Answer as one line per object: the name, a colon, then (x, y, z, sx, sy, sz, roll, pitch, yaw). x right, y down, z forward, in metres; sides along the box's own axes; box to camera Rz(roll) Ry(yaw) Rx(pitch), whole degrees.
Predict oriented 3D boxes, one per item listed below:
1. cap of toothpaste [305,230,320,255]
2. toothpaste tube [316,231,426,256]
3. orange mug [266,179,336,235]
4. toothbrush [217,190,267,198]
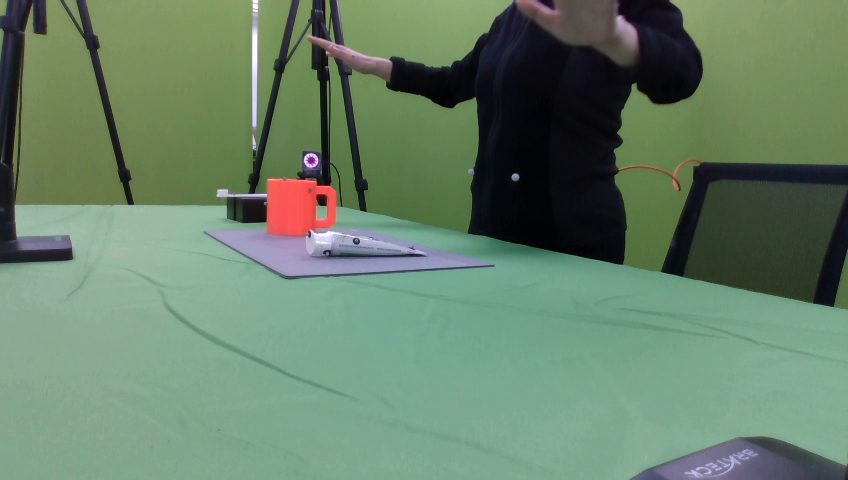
cap of toothpaste: (-0.154, 0.003, 0.836, 0.011, 0.037, 0.037, -3, 9, -34)
toothpaste tube: (-0.080, 0.009, 0.870, 0.166, 0.034, 0.055, 3, 12, -26)
orange mug: (-0.222, -0.062, 1.094, 0.127, 0.101, 0.083, -5, 10, -22)
toothbrush: (-0.343, -0.096, 1.282, 0.183, 0.016, 0.014, -1, 5, -27)
